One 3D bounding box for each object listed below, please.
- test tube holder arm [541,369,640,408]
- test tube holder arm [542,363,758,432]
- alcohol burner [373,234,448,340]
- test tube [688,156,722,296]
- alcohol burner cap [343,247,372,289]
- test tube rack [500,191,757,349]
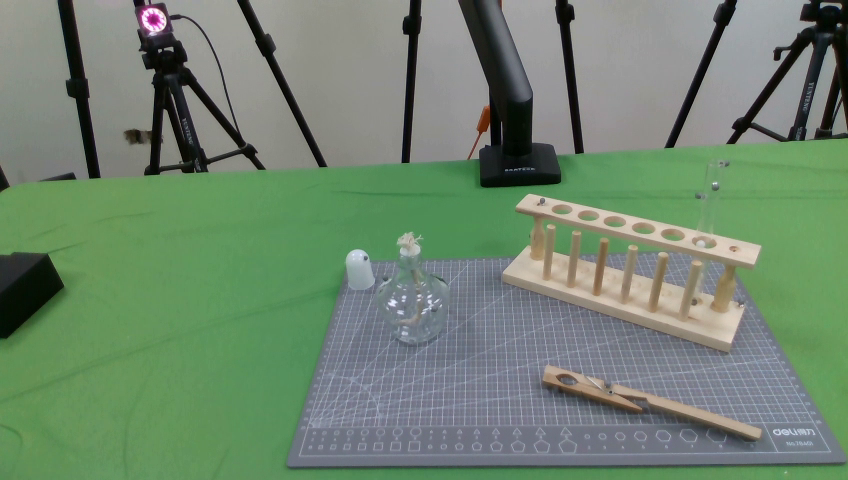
[{"bbox_3d":[0.148,0.132,0.540,0.087,0.015,0.010,11,70,22],"label":"test tube holder arm"},{"bbox_3d":[0.191,0.135,0.525,0.177,0.015,0.013,10,70,22],"label":"test tube holder arm"},{"bbox_3d":[-0.014,0.043,0.613,0.078,0.120,0.077,-3,35,2],"label":"alcohol burner"},{"bbox_3d":[0.268,-0.009,0.585,0.017,0.151,0.017,-4,30,3],"label":"test tube"},{"bbox_3d":[-0.079,0.029,0.708,0.034,0.048,0.033,-2,34,2],"label":"alcohol burner cap"},{"bbox_3d":[0.202,0.024,0.635,0.240,0.086,0.066,17,40,30],"label":"test tube rack"}]
